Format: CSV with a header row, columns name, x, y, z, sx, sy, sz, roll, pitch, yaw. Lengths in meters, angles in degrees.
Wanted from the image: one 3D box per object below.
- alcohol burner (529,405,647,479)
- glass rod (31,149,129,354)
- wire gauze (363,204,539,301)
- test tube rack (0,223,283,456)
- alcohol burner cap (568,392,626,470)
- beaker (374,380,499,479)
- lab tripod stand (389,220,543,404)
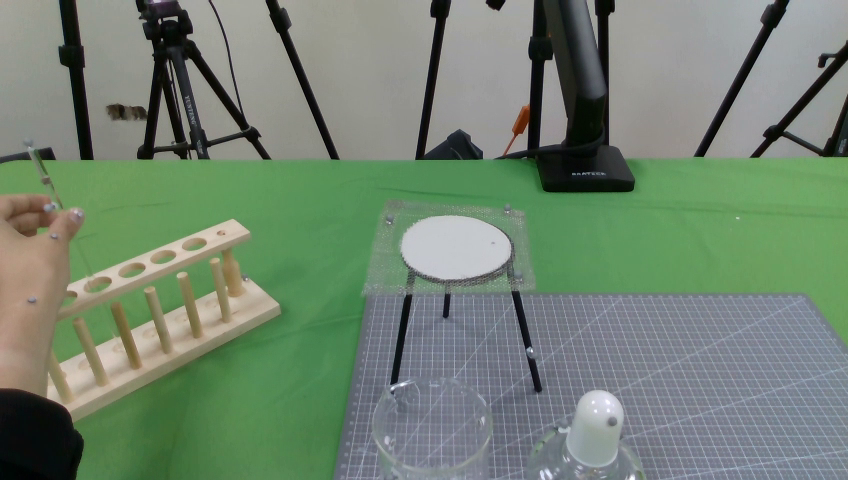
name,x,y,z,sx,sy,sz,roll,pitch,yaw
alcohol burner,0.108,0.144,0.393,0.078,0.120,0.077,-1,36,1
glass rod,-0.285,0.018,0.510,0.008,0.201,0.008,-5,30,3
wire gauze,0.022,0.007,0.465,0.121,0.011,0.124,2,34,3
test tube rack,-0.254,0.077,0.540,0.242,0.086,0.066,-28,41,-34
alcohol burner cap,0.108,0.114,0.373,0.034,0.048,0.033,1,35,-1
beaker,0.006,0.152,0.399,0.074,0.101,0.083,-29,42,-34
lab tripod stand,0.032,0.061,0.504,0.148,0.132,0.147,0,33,0
